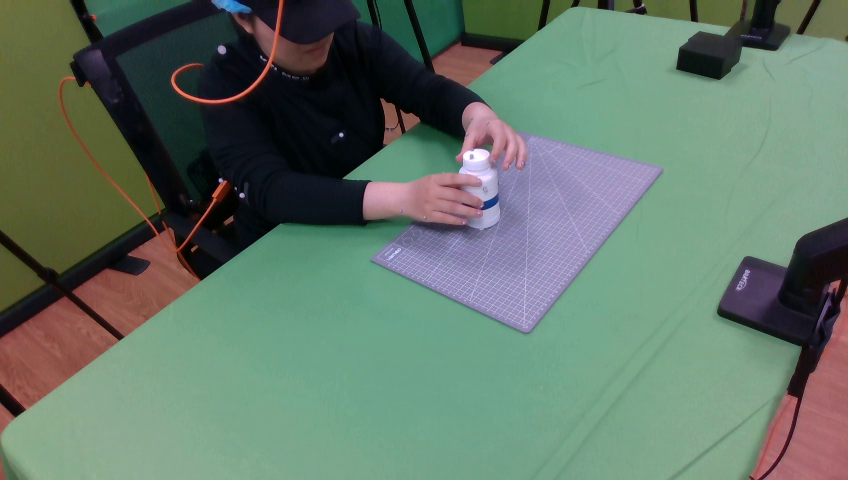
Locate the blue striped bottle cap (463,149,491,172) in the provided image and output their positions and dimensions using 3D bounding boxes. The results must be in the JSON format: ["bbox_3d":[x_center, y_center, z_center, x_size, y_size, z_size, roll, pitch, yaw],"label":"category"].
[{"bbox_3d":[0.083,-0.126,0.947,0.044,0.021,0.044,-5,35,4],"label":"blue striped bottle cap"}]

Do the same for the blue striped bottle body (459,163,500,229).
[{"bbox_3d":[0.091,-0.083,0.983,0.063,0.121,0.063,-5,40,5],"label":"blue striped bottle body"}]
